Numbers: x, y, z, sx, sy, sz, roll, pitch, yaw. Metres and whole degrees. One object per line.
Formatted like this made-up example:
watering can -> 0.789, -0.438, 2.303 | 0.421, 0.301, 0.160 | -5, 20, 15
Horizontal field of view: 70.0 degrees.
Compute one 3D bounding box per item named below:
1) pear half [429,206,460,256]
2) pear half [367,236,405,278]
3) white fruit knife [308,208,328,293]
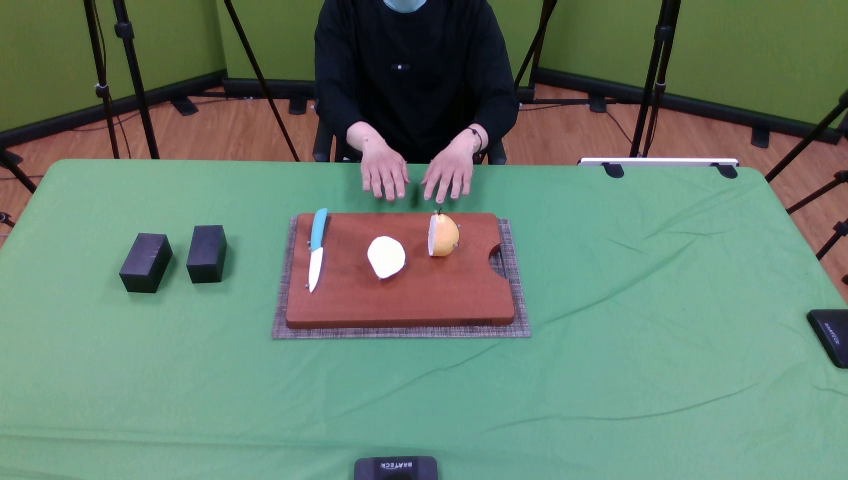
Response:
pear half -> 0.039, -0.021, 1.117 | 0.056, 0.110, 0.076 | -5, 50, -9
pear half -> -0.072, 0.036, 1.106 | 0.070, 0.031, 0.087 | 18, 59, -7
white fruit knife -> -0.201, 0.016, 1.128 | 0.027, 0.016, 0.206 | -9, 46, 8
